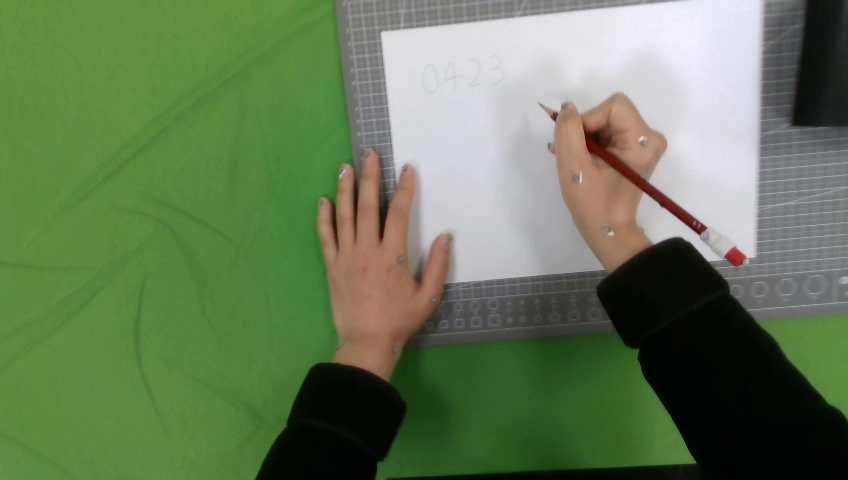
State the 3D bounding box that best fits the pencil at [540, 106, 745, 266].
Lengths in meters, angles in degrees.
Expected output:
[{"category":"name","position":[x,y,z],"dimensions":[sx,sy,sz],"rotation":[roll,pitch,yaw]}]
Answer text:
[{"category":"pencil","position":[0.143,-0.046,0.425],"dimensions":[0.012,0.012,0.192],"rotation":[-47,55,10]}]
